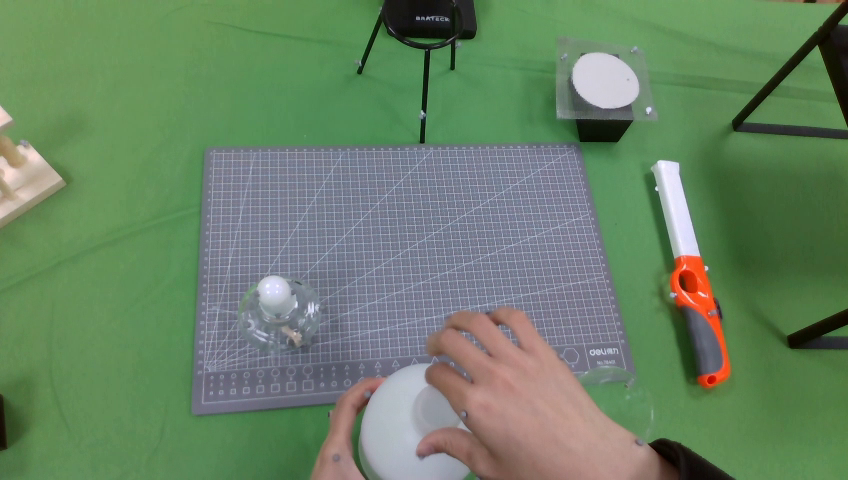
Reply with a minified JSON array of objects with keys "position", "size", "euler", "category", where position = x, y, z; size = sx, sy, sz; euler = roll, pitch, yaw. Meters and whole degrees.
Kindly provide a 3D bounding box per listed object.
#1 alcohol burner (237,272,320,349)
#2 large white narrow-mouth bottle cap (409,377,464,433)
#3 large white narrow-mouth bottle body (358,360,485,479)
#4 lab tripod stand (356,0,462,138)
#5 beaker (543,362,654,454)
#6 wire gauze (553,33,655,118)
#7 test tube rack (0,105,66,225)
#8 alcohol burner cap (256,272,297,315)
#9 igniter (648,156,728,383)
[{"position":[-0.137,0.060,0.569],"size":[0.078,0.120,0.077],"euler":[4,64,-8],"category":"alcohol burner"},{"position":[0.009,0.115,0.424],"size":[0.038,0.024,0.037],"euler":[3,65,-7],"category":"large white narrow-mouth bottle cap"},{"position":[-0.003,0.155,0.504],"size":[0.102,0.196,0.101],"euler":[3,64,-6],"category":"large white narrow-mouth bottle body"},{"position":[-0.008,-0.216,0.705],"size":[0.149,0.132,0.147],"euler":[4,66,-8],"category":"lab tripod stand"},{"position":[0.157,0.162,0.576],"size":[0.084,0.101,0.073],"euler":[28,65,7],"category":"beaker"},{"position":[0.218,-0.201,0.746],"size":[0.122,0.011,0.124],"euler":[5,65,-6],"category":"wire gauze"},{"position":[-0.486,-0.026,0.575],"size":[0.066,0.085,0.242],"euler":[43,67,12],"category":"test tube rack"},{"position":[-0.132,0.046,0.535],"size":[0.034,0.048,0.033],"euler":[2,71,-4],"category":"alcohol burner cap"},{"position":[0.302,0.026,0.698],"size":[0.057,0.025,0.274],"euler":[5,65,-18],"category":"igniter"}]
